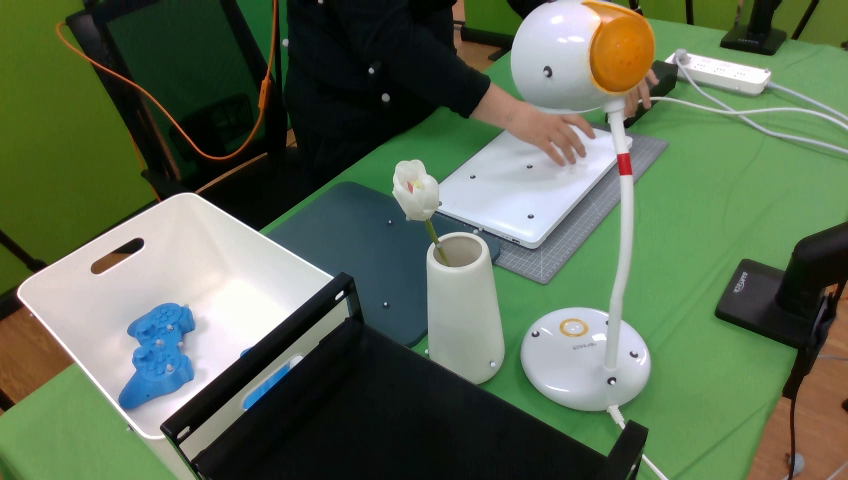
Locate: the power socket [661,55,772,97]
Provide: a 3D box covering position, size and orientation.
[{"bbox_3d":[0.618,-0.353,1.290,0.225,0.033,0.072,27,51,33],"label":"power socket"}]

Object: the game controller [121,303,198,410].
[{"bbox_3d":[-0.364,0.149,0.828,0.097,0.052,0.154,-13,41,-9],"label":"game controller"}]

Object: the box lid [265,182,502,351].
[{"bbox_3d":[-0.087,0.023,0.971,0.368,0.015,0.264,23,49,31],"label":"box lid"}]

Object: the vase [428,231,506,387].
[{"bbox_3d":[0.050,0.087,0.728,0.098,0.201,0.097,-3,40,3],"label":"vase"}]

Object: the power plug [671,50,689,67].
[{"bbox_3d":[0.540,-0.379,1.303,0.073,0.053,0.035,-32,46,-22],"label":"power plug"}]

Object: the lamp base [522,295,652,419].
[{"bbox_3d":[0.201,0.095,0.710,0.161,0.181,0.177,-16,43,-10],"label":"lamp base"}]

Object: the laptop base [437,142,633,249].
[{"bbox_3d":[0.193,-0.116,1.087,0.233,0.023,0.355,21,47,34],"label":"laptop base"}]

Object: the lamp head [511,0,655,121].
[{"bbox_3d":[0.155,-0.168,0.563,0.113,0.113,0.122,-18,23,-12],"label":"lamp head"}]

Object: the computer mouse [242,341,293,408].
[{"bbox_3d":[-0.200,0.178,0.776,0.063,0.041,0.116,-11,43,-8],"label":"computer mouse"}]

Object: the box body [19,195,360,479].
[{"bbox_3d":[-0.288,0.118,0.772,0.361,0.161,0.255,26,50,33],"label":"box body"}]

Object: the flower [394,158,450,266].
[{"bbox_3d":[0.028,0.036,0.664,0.043,0.364,0.038,36,73,30],"label":"flower"}]

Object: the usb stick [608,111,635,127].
[{"bbox_3d":[0.365,-0.224,1.125,0.059,0.027,0.021,-10,20,-33],"label":"usb stick"}]

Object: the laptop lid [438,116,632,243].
[{"bbox_3d":[0.190,-0.126,1.081,0.239,0.013,0.358,23,48,34],"label":"laptop lid"}]
